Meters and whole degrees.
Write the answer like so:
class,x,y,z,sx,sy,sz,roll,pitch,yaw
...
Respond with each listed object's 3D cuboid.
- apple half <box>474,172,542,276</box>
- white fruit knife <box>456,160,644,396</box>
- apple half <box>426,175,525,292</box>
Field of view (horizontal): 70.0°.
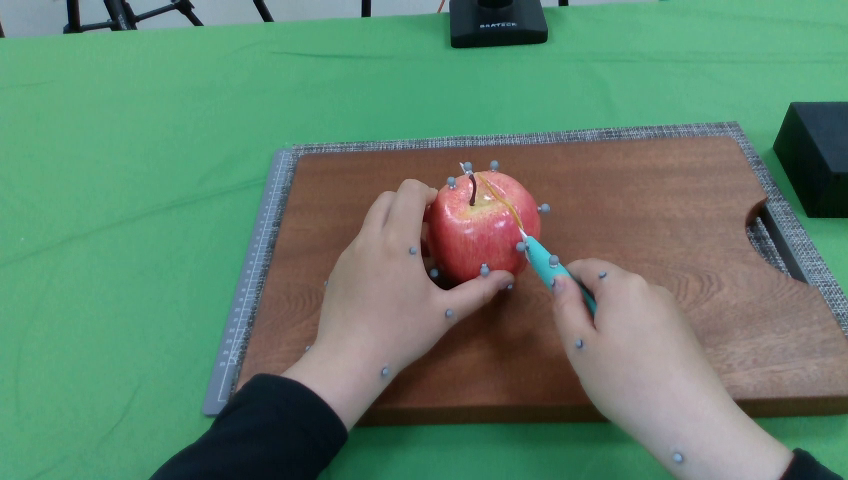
class,x,y,z,sx,sy,sz,roll,pitch,yaw
apple half,0.065,-0.014,0.439,0.033,0.082,0.080,-25,48,-16
white fruit knife,0.072,0.011,0.394,0.016,0.028,0.205,-25,54,-15
apple half,0.029,0.001,0.428,0.053,0.075,0.080,-26,52,-14
